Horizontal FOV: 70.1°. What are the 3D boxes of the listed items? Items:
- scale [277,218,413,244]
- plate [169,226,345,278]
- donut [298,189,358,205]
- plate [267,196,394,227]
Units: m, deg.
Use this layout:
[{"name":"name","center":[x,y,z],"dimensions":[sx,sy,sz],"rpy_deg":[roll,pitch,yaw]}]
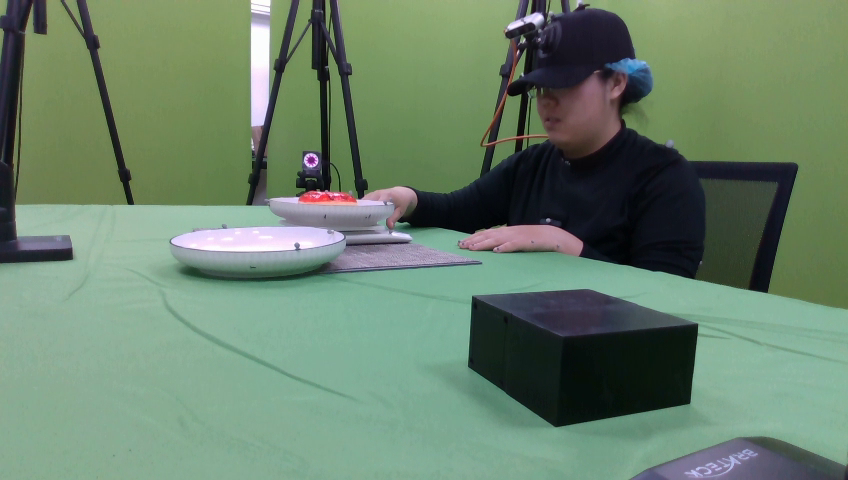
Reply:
[{"name":"scale","center":[-0.134,-0.015,1.015],"dimensions":[0.202,0.031,0.148],"rpy_deg":[-1,9,-33]},{"name":"plate","center":[-0.202,0.014,0.748],"dimensions":[0.209,0.038,0.209],"rpy_deg":[1,9,0]},{"name":"donut","center":[-0.158,-0.059,0.996],"dimensions":[0.099,0.048,0.099],"rpy_deg":[2,4,0]},{"name":"plate","center":[-0.152,-0.047,0.998],"dimensions":[0.208,0.039,0.207],"rpy_deg":[2,6,0]}]
